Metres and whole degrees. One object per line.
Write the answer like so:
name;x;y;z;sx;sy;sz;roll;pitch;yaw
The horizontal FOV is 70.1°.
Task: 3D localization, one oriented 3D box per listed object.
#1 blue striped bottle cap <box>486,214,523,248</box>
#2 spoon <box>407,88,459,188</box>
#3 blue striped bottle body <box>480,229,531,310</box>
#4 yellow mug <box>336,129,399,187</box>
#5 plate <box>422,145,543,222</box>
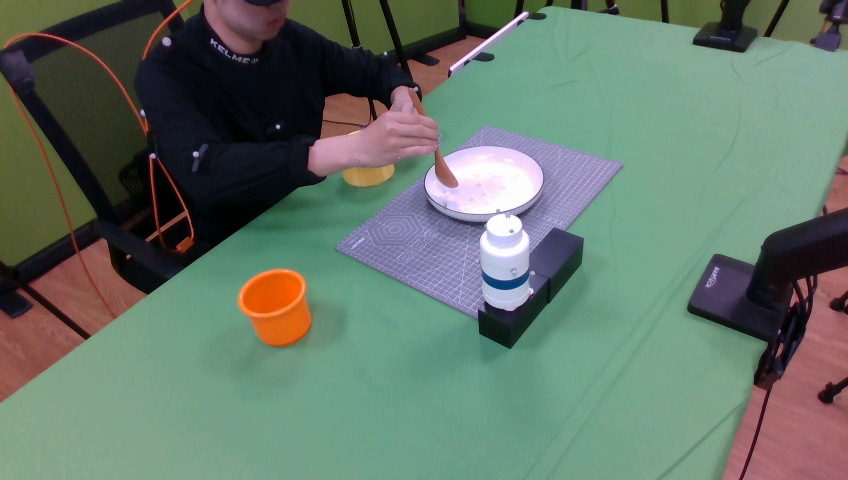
blue striped bottle cap;0.098;-0.011;0.735;0.044;0.021;0.044;-3;38;3
spoon;0.013;-0.160;0.980;0.041;0.195;0.022;8;44;41
blue striped bottle body;0.104;0.027;0.769;0.063;0.121;0.063;-4;40;4
yellow mug;-0.098;-0.162;1.138;0.131;0.064;0.099;-35;48;-29
plate;0.101;-0.094;1.048;0.207;0.039;0.206;-4;41;4
